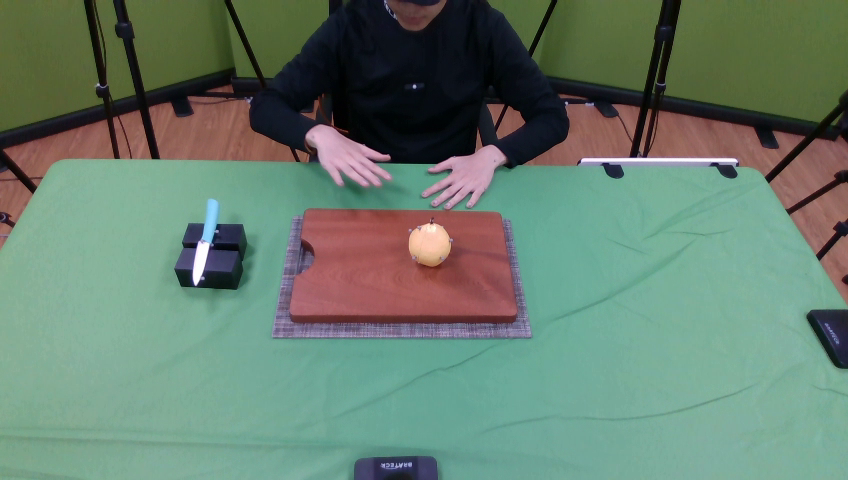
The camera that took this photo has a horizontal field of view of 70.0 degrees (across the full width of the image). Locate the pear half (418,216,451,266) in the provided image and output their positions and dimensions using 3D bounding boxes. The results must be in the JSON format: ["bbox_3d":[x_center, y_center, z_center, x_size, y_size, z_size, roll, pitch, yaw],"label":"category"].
[{"bbox_3d":[0.023,-0.001,1.096,0.056,0.110,0.076,9,50,3],"label":"pear half"}]

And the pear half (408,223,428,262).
[{"bbox_3d":[-0.013,0.000,1.107,0.031,0.088,0.070,8,53,2],"label":"pear half"}]

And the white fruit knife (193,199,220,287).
[{"bbox_3d":[-0.396,0.002,1.103,0.027,0.016,0.206,-8,51,5],"label":"white fruit knife"}]
